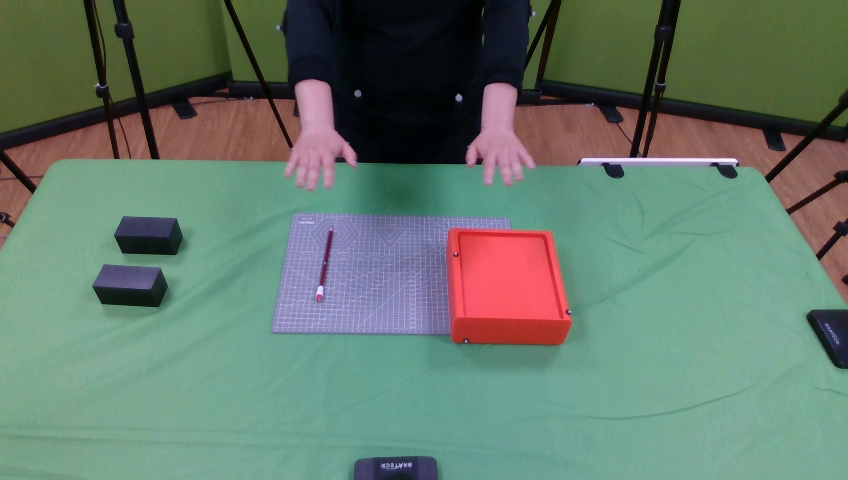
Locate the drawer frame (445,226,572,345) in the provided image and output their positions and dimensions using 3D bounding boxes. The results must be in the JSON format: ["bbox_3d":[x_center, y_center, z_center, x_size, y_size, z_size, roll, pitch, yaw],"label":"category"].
[{"bbox_3d":[0.144,0.078,1.087,0.202,0.083,0.212,2,47,-4],"label":"drawer frame"}]

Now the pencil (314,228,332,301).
[{"bbox_3d":[-0.189,0.041,1.148,0.012,0.012,0.193,3,43,-1],"label":"pencil"}]

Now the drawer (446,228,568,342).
[{"bbox_3d":[0.142,0.077,1.089,0.195,0.073,0.210,2,47,-4],"label":"drawer"}]
